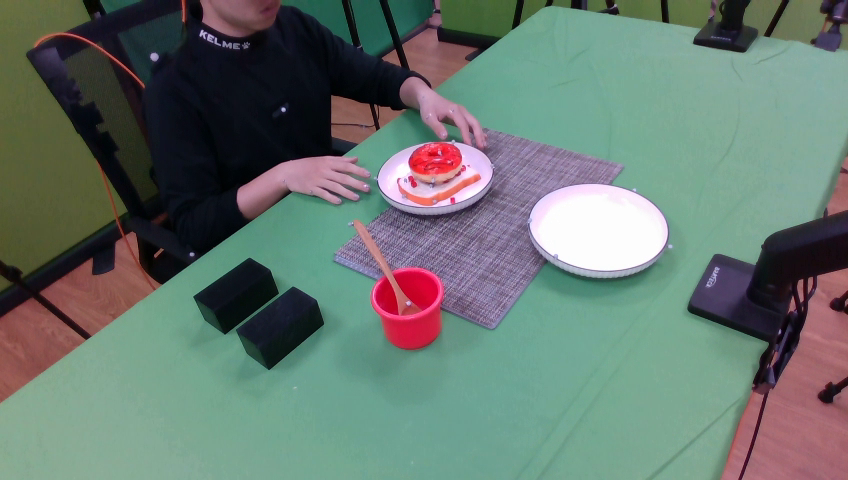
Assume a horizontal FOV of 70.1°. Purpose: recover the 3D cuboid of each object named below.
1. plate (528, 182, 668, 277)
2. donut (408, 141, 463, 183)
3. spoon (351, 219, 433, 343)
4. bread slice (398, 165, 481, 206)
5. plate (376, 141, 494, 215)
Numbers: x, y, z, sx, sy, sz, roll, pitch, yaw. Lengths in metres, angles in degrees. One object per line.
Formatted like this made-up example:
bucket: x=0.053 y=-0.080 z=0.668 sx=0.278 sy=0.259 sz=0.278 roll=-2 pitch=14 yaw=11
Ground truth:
plate: x=0.264 y=-0.014 z=0.933 sx=0.207 sy=0.039 sz=0.206 roll=-3 pitch=42 yaw=3
donut: x=0.020 y=-0.138 z=1.058 sx=0.099 sy=0.048 sz=0.098 roll=-4 pitch=39 yaw=4
spoon: x=-0.045 y=0.054 z=0.820 sx=0.042 sy=0.021 sz=0.193 roll=-28 pitch=89 yaw=-21
bread slice: x=0.021 y=-0.107 z=1.077 sx=0.132 sy=0.019 sz=0.104 roll=-32 pitch=46 yaw=-28
plate: x=0.022 y=-0.106 z=1.073 sx=0.209 sy=0.038 sz=0.208 roll=-4 pitch=40 yaw=4
